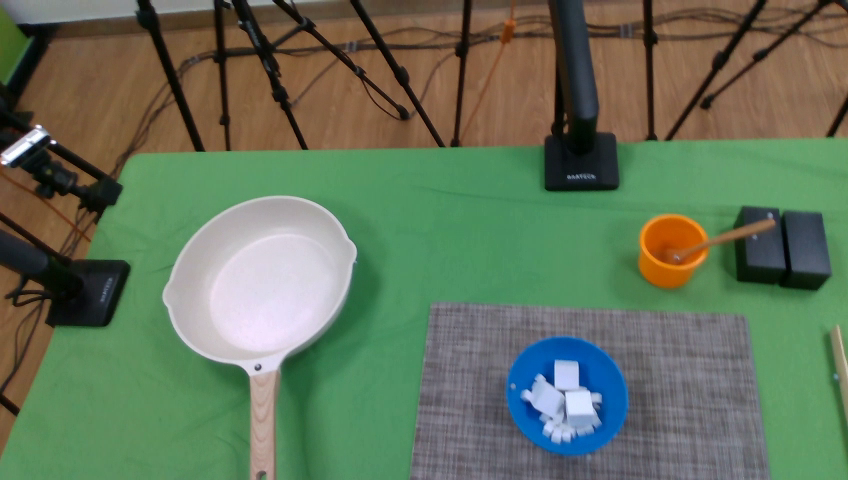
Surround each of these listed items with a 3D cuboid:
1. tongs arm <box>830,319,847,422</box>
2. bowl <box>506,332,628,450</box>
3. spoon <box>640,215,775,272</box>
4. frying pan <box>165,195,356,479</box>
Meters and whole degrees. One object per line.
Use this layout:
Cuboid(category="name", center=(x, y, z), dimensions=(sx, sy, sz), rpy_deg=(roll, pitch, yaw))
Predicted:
Cuboid(category="tongs arm", center=(0.538, 0.275, 0.723), dimensions=(0.028, 0.028, 0.384), rpy_deg=(1, 60, 9))
Cuboid(category="bowl", center=(0.184, 0.205, 0.792), dimensions=(0.151, 0.077, 0.150), rpy_deg=(-4, 59, 8))
Cuboid(category="spoon", center=(0.386, 0.004, 0.841), dimensions=(0.022, 0.193, 0.041), rpy_deg=(21, 59, -28))
Cuboid(category="frying pan", center=(-0.234, 0.141, 0.893), dimensions=(0.307, 0.104, 0.482), rpy_deg=(-13, 50, 3))
